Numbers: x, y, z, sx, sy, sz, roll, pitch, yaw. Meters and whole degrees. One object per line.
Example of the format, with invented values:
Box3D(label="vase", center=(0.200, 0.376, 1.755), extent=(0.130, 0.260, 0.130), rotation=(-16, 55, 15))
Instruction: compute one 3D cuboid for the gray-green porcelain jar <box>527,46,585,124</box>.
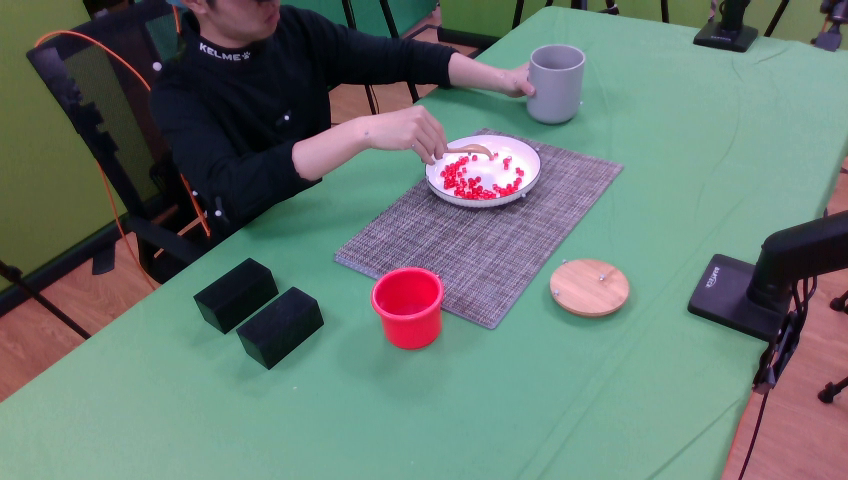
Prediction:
Box3D(label="gray-green porcelain jar", center=(0.259, -0.304, 1.203), extent=(0.106, 0.127, 0.105), rotation=(-2, 44, 3))

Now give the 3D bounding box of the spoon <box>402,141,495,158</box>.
Box3D(label="spoon", center=(0.045, -0.152, 1.022), extent=(0.195, 0.021, 0.041), rotation=(-4, 17, -37))

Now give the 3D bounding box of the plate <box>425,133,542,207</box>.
Box3D(label="plate", center=(0.106, -0.122, 1.079), extent=(0.207, 0.039, 0.206), rotation=(-4, 41, 4))

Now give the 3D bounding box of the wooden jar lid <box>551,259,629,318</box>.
Box3D(label="wooden jar lid", center=(0.234, 0.070, 0.857), extent=(0.108, 0.021, 0.108), rotation=(-5, 40, 5))
